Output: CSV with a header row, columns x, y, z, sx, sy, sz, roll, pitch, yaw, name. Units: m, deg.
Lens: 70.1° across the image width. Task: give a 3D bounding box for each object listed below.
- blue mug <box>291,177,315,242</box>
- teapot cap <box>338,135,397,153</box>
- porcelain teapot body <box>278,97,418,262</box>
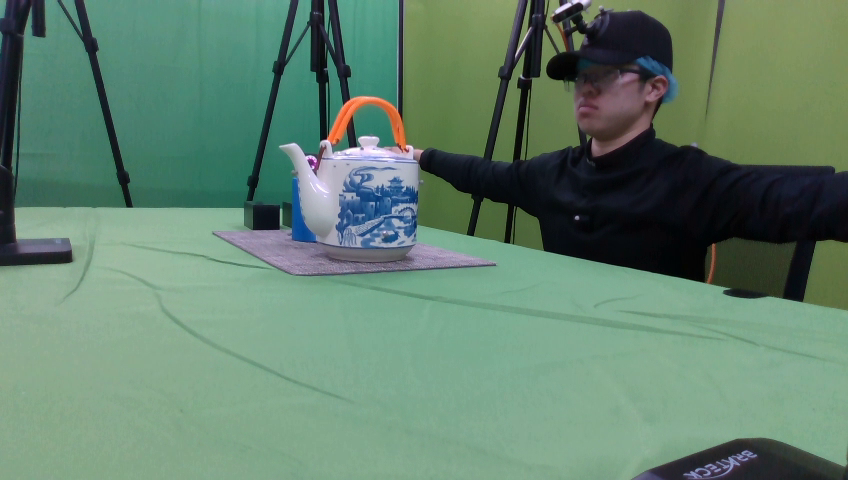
x,y,z,sx,sy,sz,roll,pitch,yaw,name
-0.170,-0.054,1.037,0.117,0.106,0.082,-2,9,-31,blue mug
-0.080,-0.126,0.853,0.085,0.044,0.085,-1,5,0,teapot cap
-0.104,-0.086,0.842,0.206,0.225,0.144,-4,10,-38,porcelain teapot body
